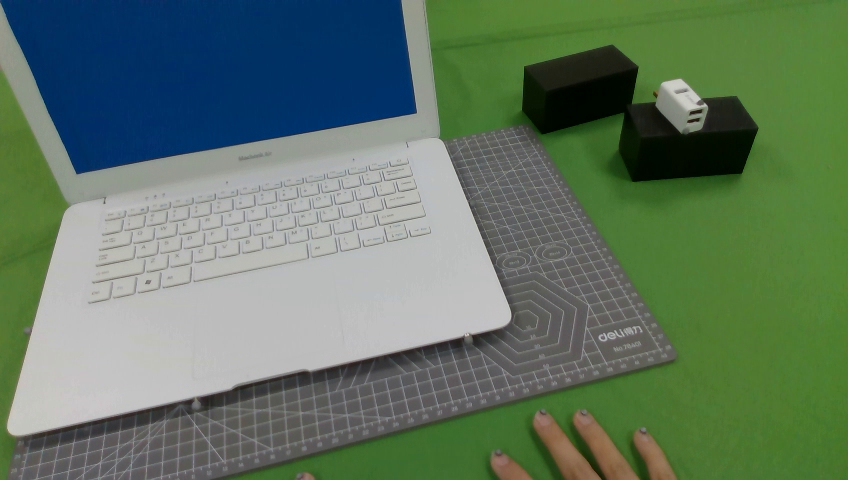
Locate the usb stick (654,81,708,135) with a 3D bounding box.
[{"bbox_3d":[0.221,-0.119,0.527,0.021,0.027,0.058,-14,43,-5],"label":"usb stick"}]

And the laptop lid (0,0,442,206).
[{"bbox_3d":[-0.167,-0.161,0.519,0.357,0.244,0.013,-13,31,-5],"label":"laptop lid"}]

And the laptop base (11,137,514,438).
[{"bbox_3d":[-0.128,0.020,0.500,0.355,0.023,0.233,-12,49,-6],"label":"laptop base"}]
